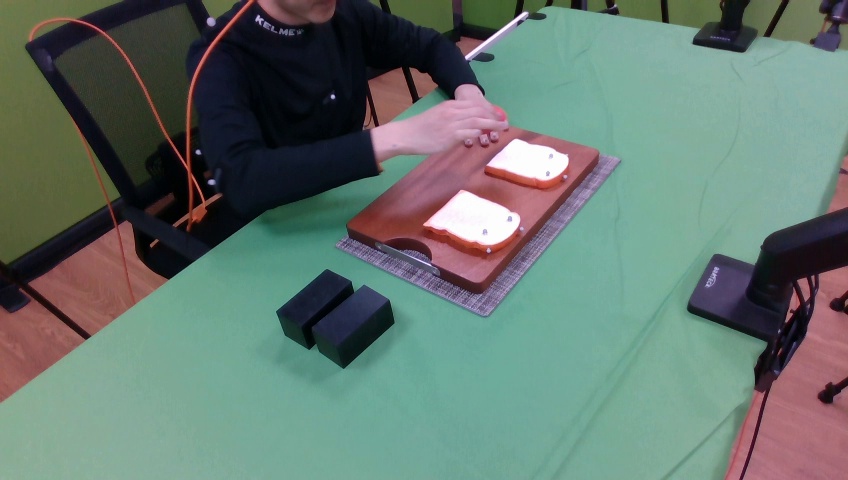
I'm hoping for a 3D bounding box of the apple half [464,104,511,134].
[{"bbox_3d":[0.104,-0.209,1.002,0.081,0.033,0.081,-13,36,10],"label":"apple half"}]

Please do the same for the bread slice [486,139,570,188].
[{"bbox_3d":[0.190,-0.135,1.059,0.130,0.019,0.105,22,49,30],"label":"bread slice"}]

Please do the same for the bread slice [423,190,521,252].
[{"bbox_3d":[0.083,-0.029,0.949,0.133,0.018,0.107,22,48,28],"label":"bread slice"}]
